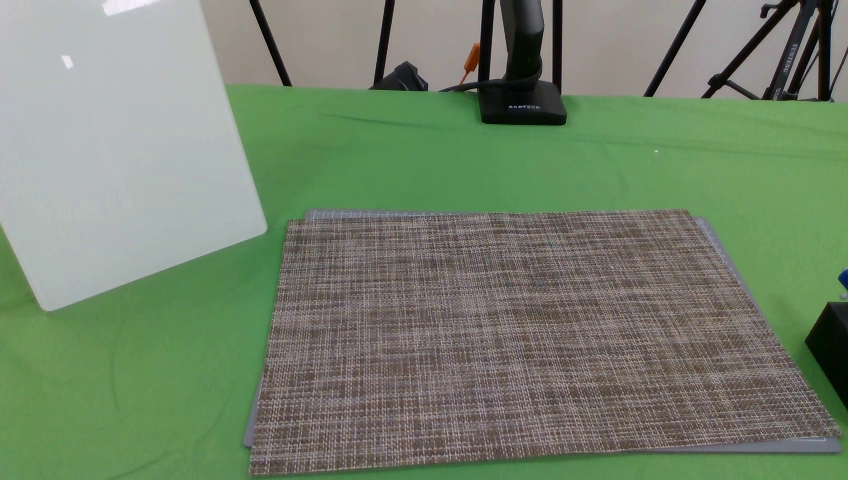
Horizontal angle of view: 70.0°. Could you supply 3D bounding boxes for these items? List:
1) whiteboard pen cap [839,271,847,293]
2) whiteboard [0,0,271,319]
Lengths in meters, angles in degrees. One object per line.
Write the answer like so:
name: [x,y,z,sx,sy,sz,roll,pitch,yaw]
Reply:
whiteboard pen cap: [0.371,0.042,0.516,0.018,0.018,0.033,1,37,-1]
whiteboard: [-0.312,-0.120,0.586,0.217,0.307,0.142,-23,26,-27]
